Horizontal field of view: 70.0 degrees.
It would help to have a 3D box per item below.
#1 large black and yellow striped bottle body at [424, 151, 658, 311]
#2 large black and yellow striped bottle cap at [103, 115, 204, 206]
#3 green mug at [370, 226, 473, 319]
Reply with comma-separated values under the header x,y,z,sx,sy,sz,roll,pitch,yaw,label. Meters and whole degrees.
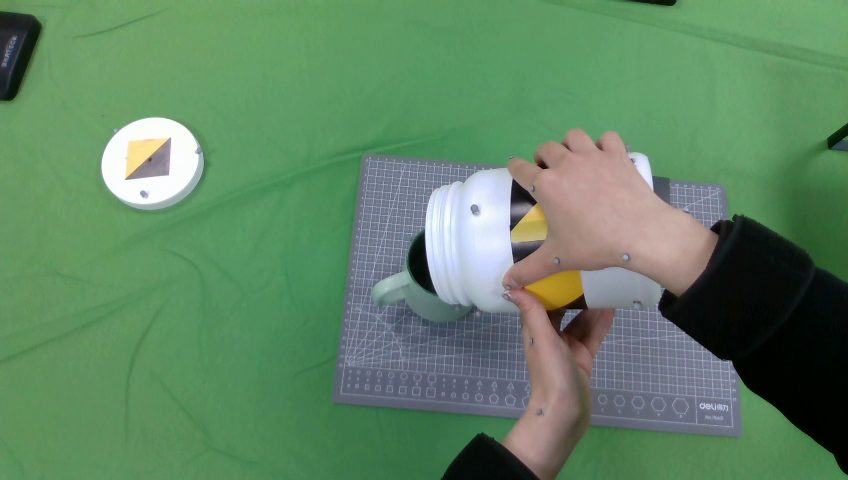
x,y,z,sx,sy,sz,roll,pitch,yaw,label
0.103,-0.004,0.529,0.183,0.132,0.130,-4,71,18,large black and yellow striped bottle body
-0.324,-0.096,0.725,0.115,0.019,0.114,1,72,-2,large black and yellow striped bottle cap
0.003,0.039,0.648,0.125,0.105,0.092,-20,74,-8,green mug
